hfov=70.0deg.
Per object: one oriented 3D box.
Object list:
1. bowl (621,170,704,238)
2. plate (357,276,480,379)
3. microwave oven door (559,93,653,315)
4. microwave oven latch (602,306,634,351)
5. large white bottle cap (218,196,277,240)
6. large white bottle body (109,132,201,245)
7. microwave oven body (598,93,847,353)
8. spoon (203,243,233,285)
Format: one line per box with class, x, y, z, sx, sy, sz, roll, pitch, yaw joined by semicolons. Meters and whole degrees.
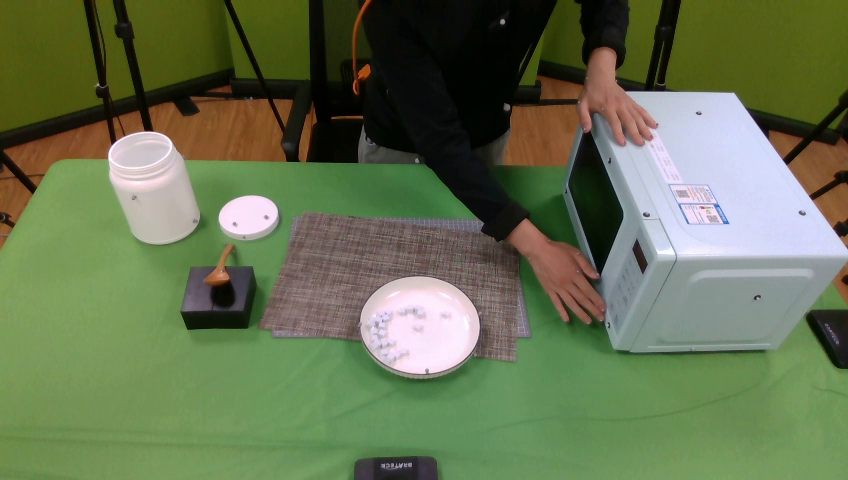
bowl;0.446;-0.057;1.166;0.151;0.077;0.150;2;46;-2
plate;-0.010;0.151;1.038;0.209;0.038;0.208;2;47;-2
microwave oven door;0.327;-0.074;1.123;0.039;0.245;0.353;-1;46;-5
microwave oven latch;0.332;0.153;1.044;0.030;0.029;0.078;0;45;-4
large white bottle cap;-0.354;-0.045;1.220;0.115;0.018;0.114;2;45;-1
large white bottle body;-0.506;-0.097;1.141;0.131;0.185;0.130;2;46;-2
microwave oven body;0.475;-0.041;1.109;0.326;0.261;0.438;-1;45;-4
spoon;-0.360;0.039;1.087;0.041;0.022;0.192;-6;24;-6
